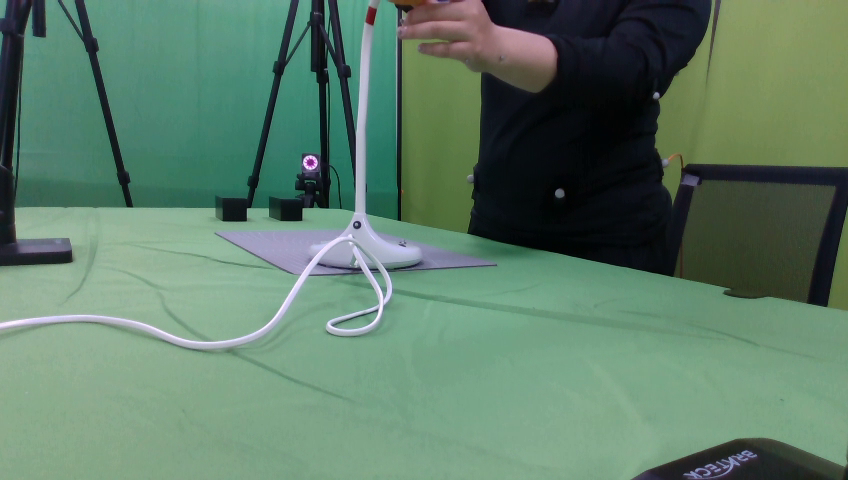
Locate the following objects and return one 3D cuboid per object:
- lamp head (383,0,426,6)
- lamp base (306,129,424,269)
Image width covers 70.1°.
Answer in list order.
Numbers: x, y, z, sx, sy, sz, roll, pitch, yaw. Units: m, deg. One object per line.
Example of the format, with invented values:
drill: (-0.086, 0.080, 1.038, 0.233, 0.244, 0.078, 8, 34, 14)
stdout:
lamp head: (-0.025, -0.325, 0.671, 0.112, 0.123, 0.112, 4, 3, 0)
lamp base: (-0.077, -0.057, 0.810, 0.161, 0.180, 0.179, 2, 10, -4)
